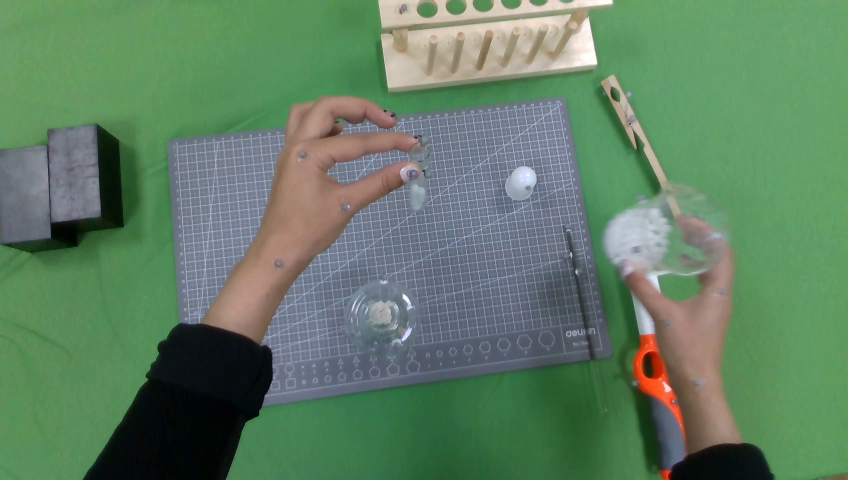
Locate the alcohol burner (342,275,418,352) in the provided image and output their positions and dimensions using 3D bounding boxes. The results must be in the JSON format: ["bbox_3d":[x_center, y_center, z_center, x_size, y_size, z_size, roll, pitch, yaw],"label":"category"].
[{"bbox_3d":[-0.044,0.070,0.594,0.078,0.119,0.077,0,78,-1],"label":"alcohol burner"}]

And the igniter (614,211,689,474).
[{"bbox_3d":[0.242,0.105,0.648,0.057,0.025,0.275,-5,81,-13],"label":"igniter"}]

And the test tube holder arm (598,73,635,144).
[{"bbox_3d":[0.224,-0.150,0.693,0.010,0.015,0.087,-29,83,27],"label":"test tube holder arm"}]

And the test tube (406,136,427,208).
[{"bbox_3d":[-0.007,-0.052,0.506,0.017,0.150,0.017,0,78,-2],"label":"test tube"}]

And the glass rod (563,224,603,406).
[{"bbox_3d":[0.171,0.079,0.655,0.008,0.008,0.199,-8,81,-4],"label":"glass rod"}]

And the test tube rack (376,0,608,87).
[{"bbox_3d":[0.073,-0.229,0.665,0.242,0.085,0.066,-7,81,-4],"label":"test tube rack"}]

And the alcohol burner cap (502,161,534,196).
[{"bbox_3d":[0.105,-0.070,0.659,0.034,0.048,0.033,0,81,-2],"label":"alcohol burner cap"}]

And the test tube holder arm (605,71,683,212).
[{"bbox_3d":[0.248,-0.112,0.686,0.013,0.015,0.178,-30,82,27],"label":"test tube holder arm"}]

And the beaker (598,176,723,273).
[{"bbox_3d":[0.207,-0.010,0.551,0.074,0.100,0.084,-17,87,-7],"label":"beaker"}]
